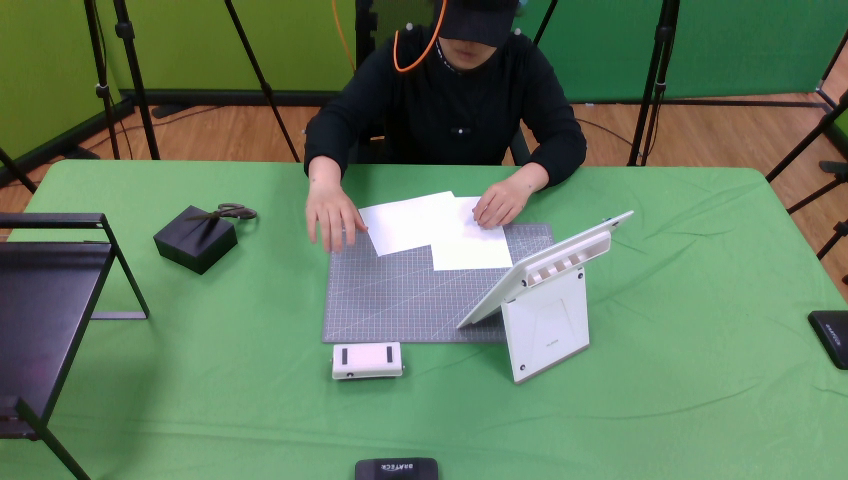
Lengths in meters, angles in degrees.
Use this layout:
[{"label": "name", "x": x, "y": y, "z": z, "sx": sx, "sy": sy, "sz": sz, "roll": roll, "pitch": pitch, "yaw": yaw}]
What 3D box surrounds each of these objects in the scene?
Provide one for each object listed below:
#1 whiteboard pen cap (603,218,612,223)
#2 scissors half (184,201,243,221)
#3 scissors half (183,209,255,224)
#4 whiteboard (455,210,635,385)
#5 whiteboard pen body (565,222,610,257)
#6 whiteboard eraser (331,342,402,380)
[{"label": "whiteboard pen cap", "x": 0.379, "y": -0.031, "z": 1.255, "sx": 0.033, "sy": 0.018, "sz": 0.018, "roll": -33, "pitch": 57, "yaw": -30}, {"label": "scissors half", "x": -0.405, "y": -0.054, "z": 1.163, "sx": 0.040, "sy": 0.013, "sz": 0.175, "roll": 28, "pitch": 18, "yaw": 6}, {"label": "scissors half", "x": -0.389, "y": -0.042, "z": 1.158, "sx": 0.040, "sy": 0.013, "sz": 0.175, "roll": 40, "pitch": 22, "yaw": 22}, {"label": "whiteboard", "x": 0.211, "y": 0.111, "z": 0.955, "sx": 0.217, "sy": 0.306, "sz": 0.143, "roll": -21, "pitch": 72, "yaw": -23}, {"label": "whiteboard pen body", "x": 0.335, "y": -0.004, "z": 1.228, "sx": 0.141, "sy": 0.017, "sz": 0.017, "roll": -33, "pitch": 56, "yaw": -29}, {"label": "whiteboard eraser", "x": -0.094, "y": 0.198, "z": 0.986, "sx": 0.113, "sy": 0.042, "sz": 0.055, "roll": -2, "pitch": 44, "yaw": -6}]
